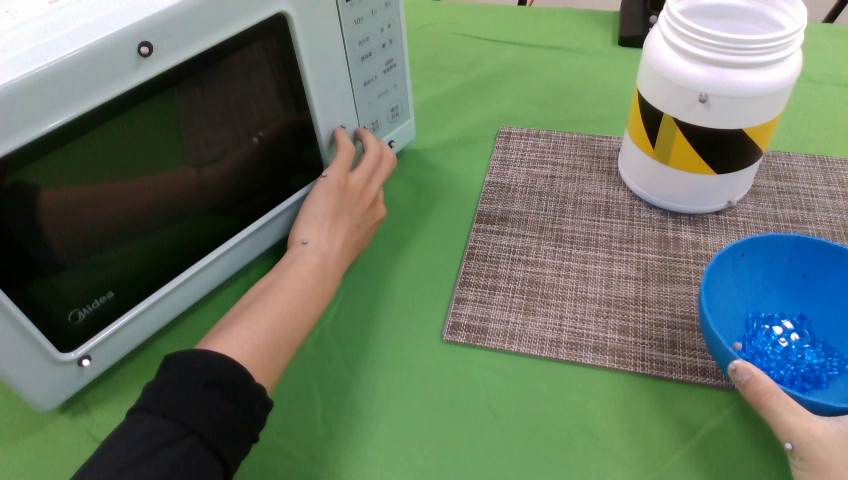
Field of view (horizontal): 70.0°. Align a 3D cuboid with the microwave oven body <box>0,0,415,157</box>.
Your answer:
[{"bbox_3d":[-0.276,-0.137,0.563,0.323,0.263,0.441,31,58,28],"label":"microwave oven body"}]

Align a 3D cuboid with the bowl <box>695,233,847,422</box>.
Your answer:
[{"bbox_3d":[0.271,0.075,0.444,0.151,0.077,0.150,-3,47,3],"label":"bowl"}]

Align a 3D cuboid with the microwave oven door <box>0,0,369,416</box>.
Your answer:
[{"bbox_3d":[-0.194,-0.051,0.470,0.039,0.246,0.355,31,57,29],"label":"microwave oven door"}]

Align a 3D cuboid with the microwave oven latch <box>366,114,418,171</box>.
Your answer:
[{"bbox_3d":[-0.041,-0.108,0.649,0.030,0.030,0.079,33,58,29],"label":"microwave oven latch"}]

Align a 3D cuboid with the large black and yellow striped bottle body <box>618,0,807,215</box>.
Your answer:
[{"bbox_3d":[0.260,-0.129,0.561,0.131,0.186,0.129,-2,47,3],"label":"large black and yellow striped bottle body"}]
